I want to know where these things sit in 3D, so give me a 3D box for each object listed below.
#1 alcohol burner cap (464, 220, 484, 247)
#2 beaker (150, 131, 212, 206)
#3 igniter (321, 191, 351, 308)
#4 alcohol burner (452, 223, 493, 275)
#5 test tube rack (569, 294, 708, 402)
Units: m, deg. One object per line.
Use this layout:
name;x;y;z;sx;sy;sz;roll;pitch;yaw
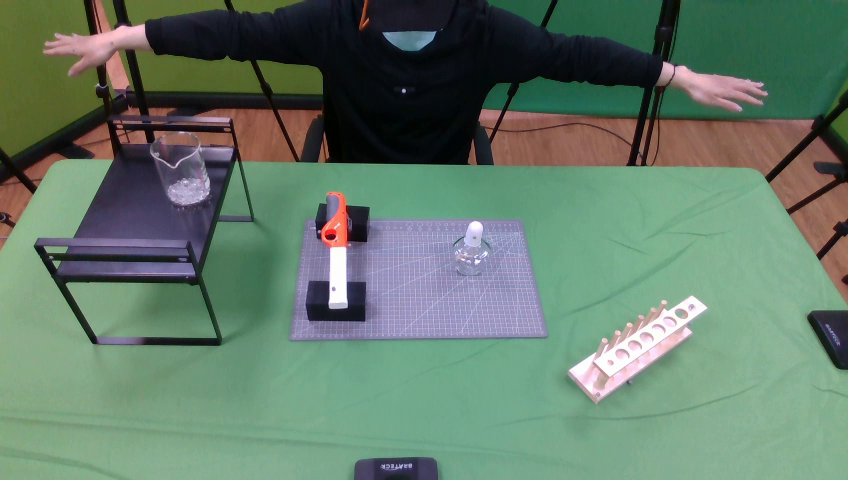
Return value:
alcohol burner cap;0.092;-0.015;1.098;0.034;0.048;0.033;5;44;-4
beaker;-0.385;-0.110;0.969;0.074;0.101;0.083;-6;48;-9
igniter;-0.159;0.008;1.101;0.057;0.025;0.274;-2;48;-7
alcohol burner;0.091;0.008;1.124;0.078;0.119;0.077;2;48;-2
test tube rack;0.360;0.167;1.015;0.242;0.085;0.066;-25;53;-25
